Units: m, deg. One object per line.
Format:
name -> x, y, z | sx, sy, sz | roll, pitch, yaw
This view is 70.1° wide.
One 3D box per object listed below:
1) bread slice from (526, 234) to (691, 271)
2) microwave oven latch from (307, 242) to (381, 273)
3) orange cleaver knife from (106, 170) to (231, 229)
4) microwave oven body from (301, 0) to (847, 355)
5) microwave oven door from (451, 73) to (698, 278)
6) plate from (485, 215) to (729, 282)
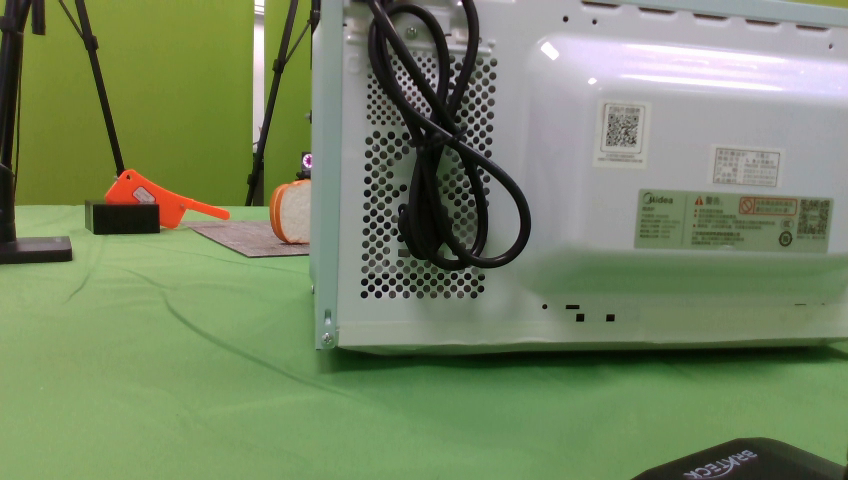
bread slice -> 0.175, 0.011, 0.564 | 0.134, 0.018, 0.107 | -5, 6, 27
microwave oven latch -> -0.086, 0.019, 0.656 | 0.079, 0.029, 0.030 | 2, 7, -10
orange cleaver knife -> -0.458, -0.060, 1.097 | 0.212, 0.077, 0.012 | 23, -4, -38
microwave oven body -> 0.120, -0.053, 0.535 | 0.443, 0.260, 0.325 | 2, 7, -11
microwave oven door -> 0.183, -0.094, 0.835 | 0.354, 0.243, 0.039 | 9, 10, 44
plate -> 0.159, 0.006, 0.545 | 0.208, 0.039, 0.207 | -3, 7, 1
